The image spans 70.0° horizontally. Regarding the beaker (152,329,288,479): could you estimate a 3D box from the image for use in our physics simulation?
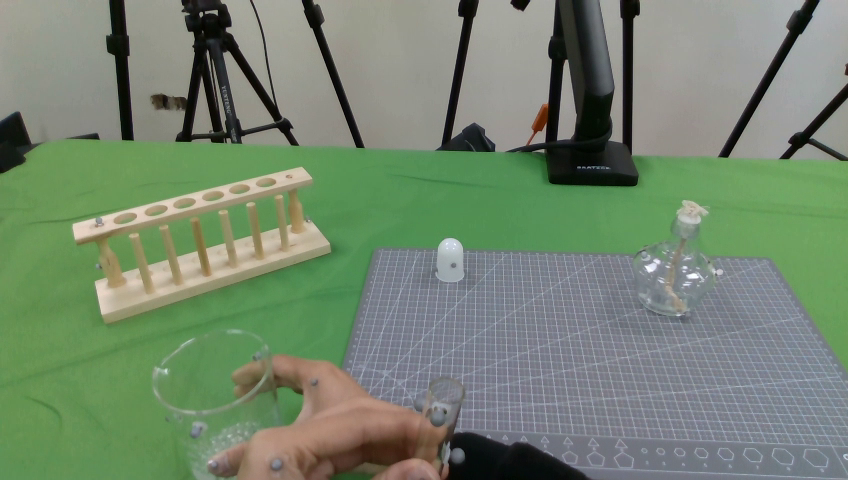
[{"bbox_3d":[-0.139,0.124,0.424,0.084,0.101,0.073,5,35,9],"label":"beaker"}]

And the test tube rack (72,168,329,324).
[{"bbox_3d":[-0.232,0.000,0.658,0.243,0.086,0.066,-19,38,-24],"label":"test tube rack"}]

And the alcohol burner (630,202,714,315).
[{"bbox_3d":[0.245,0.014,0.591,0.078,0.120,0.077,1,34,0],"label":"alcohol burner"}]

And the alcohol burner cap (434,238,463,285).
[{"bbox_3d":[0.026,0.021,0.653,0.034,0.048,0.033,-1,34,1],"label":"alcohol burner cap"}]

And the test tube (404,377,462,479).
[{"bbox_3d":[-0.004,0.122,0.283,0.017,0.151,0.017,8,32,-5],"label":"test tube"}]
